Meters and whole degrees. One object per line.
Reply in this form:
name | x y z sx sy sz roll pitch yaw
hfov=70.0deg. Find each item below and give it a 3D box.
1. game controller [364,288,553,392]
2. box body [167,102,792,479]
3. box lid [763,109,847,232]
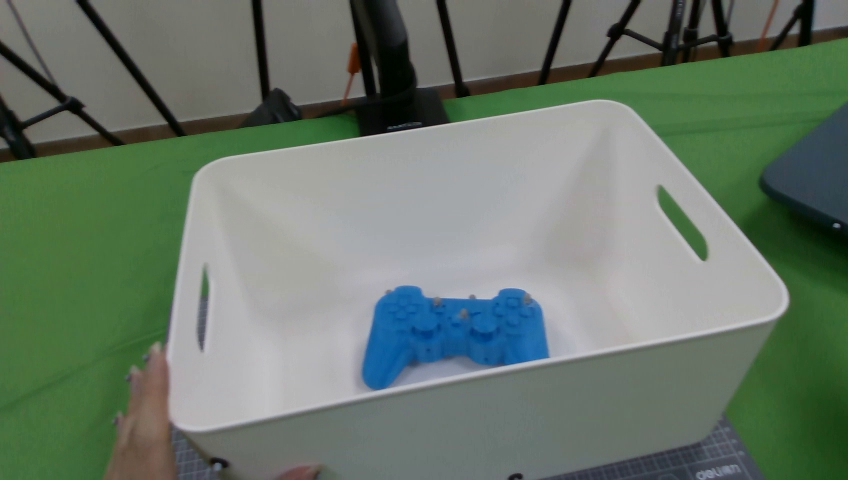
game controller | 0.030 0.081 0.508 0.155 0.052 0.096 2 38 7
box body | 0.026 0.048 0.468 0.364 0.162 0.251 -10 42 -5
box lid | 0.542 -0.028 0.554 0.263 0.015 0.367 -31 48 -26
